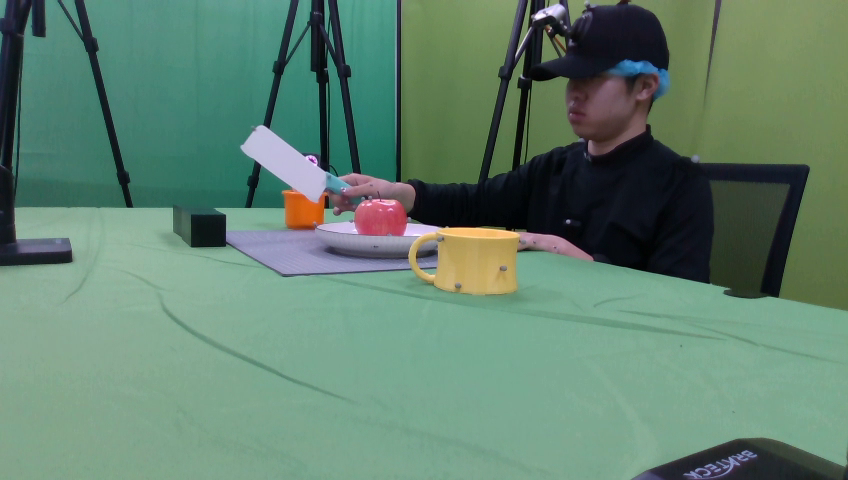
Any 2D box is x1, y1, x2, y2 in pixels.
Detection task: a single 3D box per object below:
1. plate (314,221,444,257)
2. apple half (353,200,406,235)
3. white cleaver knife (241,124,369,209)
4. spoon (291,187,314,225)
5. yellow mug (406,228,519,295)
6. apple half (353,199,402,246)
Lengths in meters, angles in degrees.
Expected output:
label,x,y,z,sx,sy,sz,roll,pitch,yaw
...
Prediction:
label,x,y,z,sx,sy,sz,roll,pitch,yaw
plate,-0.067,-0.002,0.948,0.209,0.038,0.209,3,7,0
apple half,-0.064,-0.023,0.909,0.081,0.074,0.053,4,11,-17
white cleaver knife,-0.199,-0.105,1.088,0.288,0.066,0.021,35,-11,-34
spoon,-0.272,-0.103,1.260,0.042,0.193,0.021,-6,-33,-32
yellow mug,0.044,0.022,0.707,0.131,0.064,0.100,2,7,5
apple half,-0.076,-0.029,0.946,0.081,0.081,0.032,0,12,-18
